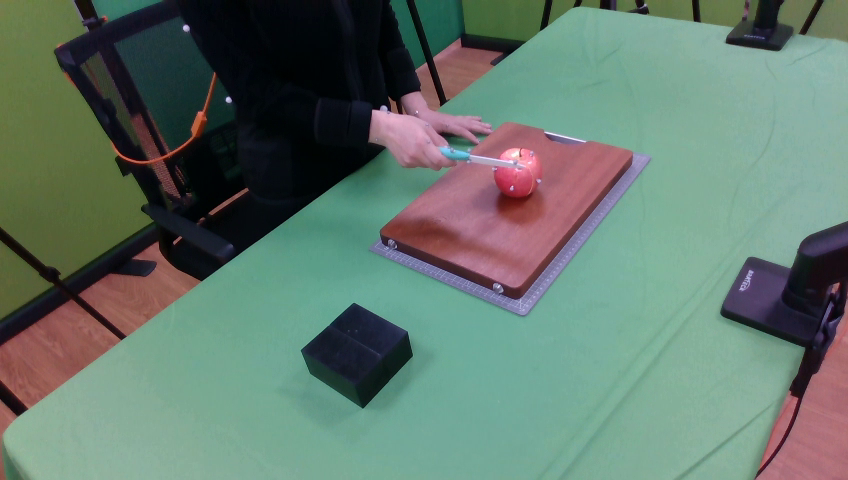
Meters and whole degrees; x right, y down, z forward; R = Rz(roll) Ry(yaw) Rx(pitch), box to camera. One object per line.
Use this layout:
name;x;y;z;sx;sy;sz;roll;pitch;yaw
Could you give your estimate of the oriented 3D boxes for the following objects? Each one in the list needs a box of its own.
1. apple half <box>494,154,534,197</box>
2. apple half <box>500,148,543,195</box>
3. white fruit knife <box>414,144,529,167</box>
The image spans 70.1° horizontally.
apple half;0.140;-0.098;0.989;0.080;0.081;0.033;27;50;35
apple half;0.167;-0.118;1.010;0.080;0.075;0.053;23;46;38
white fruit knife;0.068;-0.130;0.936;0.206;0.027;0.016;13;75;31
